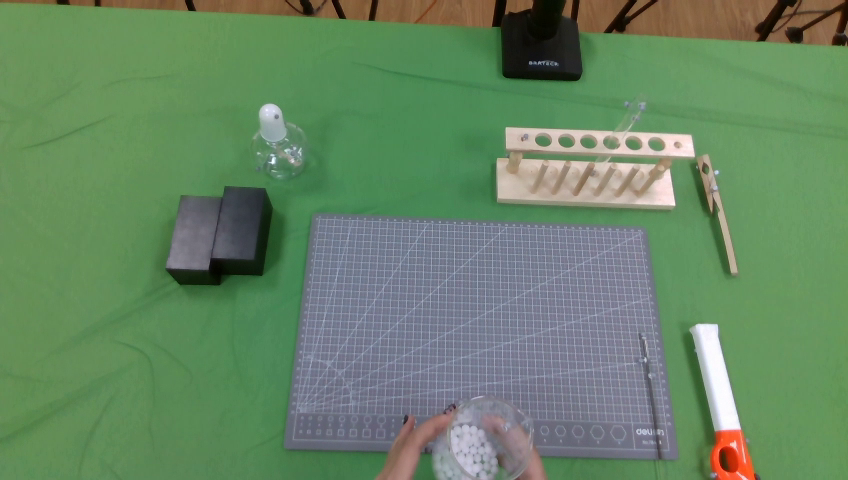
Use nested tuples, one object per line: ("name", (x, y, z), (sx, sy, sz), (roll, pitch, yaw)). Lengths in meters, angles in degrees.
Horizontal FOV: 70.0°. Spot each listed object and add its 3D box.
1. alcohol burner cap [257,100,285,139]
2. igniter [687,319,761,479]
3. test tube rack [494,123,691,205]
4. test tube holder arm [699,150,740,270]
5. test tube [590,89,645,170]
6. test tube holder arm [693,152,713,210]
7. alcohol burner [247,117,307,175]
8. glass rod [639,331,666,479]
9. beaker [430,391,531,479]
("alcohol burner cap", (-0.192, -0.154, 0.756), (0.034, 0.048, 0.033), (4, 59, -6))
("igniter", (0.350, 0.225, 0.700), (0.057, 0.025, 0.274), (3, 65, -12))
("test tube rack", (0.221, -0.100, 0.809), (0.242, 0.086, 0.066), (2, 65, -2))
("test tube holder arm", (0.402, -0.044, 0.828), (0.013, 0.015, 0.177), (-20, 63, 28))
("test tube", (0.242, -0.136, 0.772), (0.017, 0.151, 0.017), (3, 61, -6))
("test tube holder arm", (0.393, -0.083, 0.848), (0.010, 0.015, 0.087), (-19, 63, 28))
("alcohol burner", (-0.194, -0.137, 0.788), (0.078, 0.120, 0.077), (1, 63, -1))
("glass rod", (0.269, 0.203, 0.713), (0.008, 0.008, 0.198), (2, 65, -2))
("beaker", (0.049, 0.187, 0.552), (0.084, 0.101, 0.073), (-19, 65, -21))
